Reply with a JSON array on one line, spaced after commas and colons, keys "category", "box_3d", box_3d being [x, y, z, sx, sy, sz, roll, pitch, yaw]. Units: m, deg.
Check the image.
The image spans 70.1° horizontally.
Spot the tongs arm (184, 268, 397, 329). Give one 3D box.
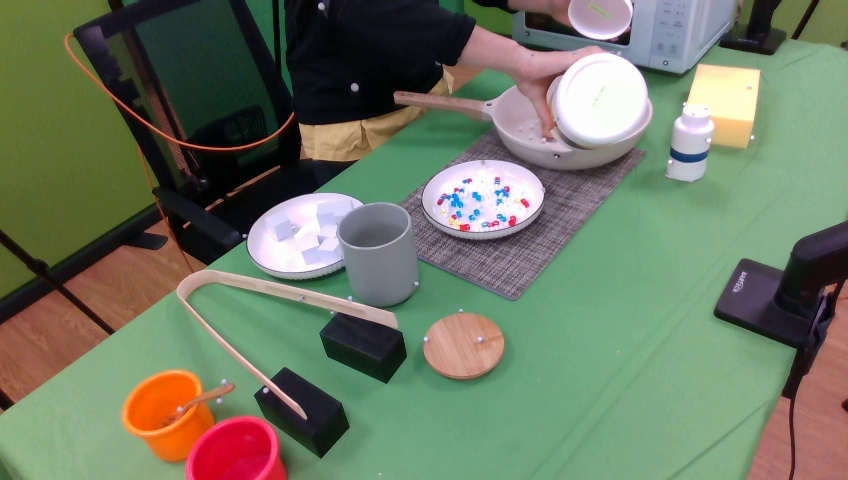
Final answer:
[{"category": "tongs arm", "box_3d": [-0.202, 0.084, 0.848, 0.382, 0.027, 0.051, 11, 45, 35]}]

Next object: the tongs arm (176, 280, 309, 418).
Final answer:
[{"category": "tongs arm", "box_3d": [-0.254, 0.133, 0.801, 0.028, 0.028, 0.384, -41, 40, -23]}]

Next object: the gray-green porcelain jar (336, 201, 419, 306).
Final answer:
[{"category": "gray-green porcelain jar", "box_3d": [-0.064, 0.024, 0.872, 0.106, 0.127, 0.105, -4, 41, 4]}]

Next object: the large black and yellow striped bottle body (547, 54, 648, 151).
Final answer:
[{"category": "large black and yellow striped bottle body", "box_3d": [0.265, -0.210, 0.958, 0.131, 0.130, 0.184, -3, 3, 5]}]

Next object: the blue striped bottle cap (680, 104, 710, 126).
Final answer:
[{"category": "blue striped bottle cap", "box_3d": [0.443, -0.205, 0.989, 0.044, 0.021, 0.044, -1, 41, 1]}]

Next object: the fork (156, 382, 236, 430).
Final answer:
[{"category": "fork", "box_3d": [-0.262, 0.189, 0.690, 0.018, 0.206, 0.028, 49, 43, -7]}]

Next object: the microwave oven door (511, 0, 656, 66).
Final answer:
[{"category": "microwave oven door", "box_3d": [0.351, -0.540, 1.349, 0.353, 0.245, 0.039, 24, 50, 31]}]

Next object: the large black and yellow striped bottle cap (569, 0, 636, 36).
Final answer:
[{"category": "large black and yellow striped bottle cap", "box_3d": [0.314, -0.416, 1.067, 0.115, 0.019, 0.114, -1, 80, 4]}]

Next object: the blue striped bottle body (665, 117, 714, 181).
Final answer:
[{"category": "blue striped bottle body", "box_3d": [0.449, -0.165, 1.022, 0.063, 0.121, 0.063, -5, 41, 4]}]

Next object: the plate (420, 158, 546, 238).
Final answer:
[{"category": "plate", "box_3d": [0.099, -0.067, 1.017, 0.209, 0.038, 0.208, -4, 40, 4]}]

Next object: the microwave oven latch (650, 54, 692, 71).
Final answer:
[{"category": "microwave oven latch", "box_3d": [0.530, -0.386, 1.301, 0.078, 0.029, 0.030, 23, 50, 31]}]

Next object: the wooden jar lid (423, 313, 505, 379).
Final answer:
[{"category": "wooden jar lid", "box_3d": [0.053, 0.142, 0.800, 0.108, 0.021, 0.108, -5, 39, 4]}]

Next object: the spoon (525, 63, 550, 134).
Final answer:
[{"category": "spoon", "box_3d": [0.232, -0.279, 1.207, 0.041, 0.022, 0.193, -14, 70, 6]}]

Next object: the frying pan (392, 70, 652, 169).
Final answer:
[{"category": "frying pan", "box_3d": [0.175, -0.248, 1.166, 0.487, 0.103, 0.306, 12, 43, 9]}]

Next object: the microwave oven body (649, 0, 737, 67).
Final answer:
[{"category": "microwave oven body", "box_3d": [0.475, -0.602, 1.411, 0.438, 0.261, 0.327, 23, 50, 32]}]

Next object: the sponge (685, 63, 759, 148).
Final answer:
[{"category": "sponge", "box_3d": [0.569, -0.263, 1.164, 0.117, 0.061, 0.207, 12, 45, 22]}]

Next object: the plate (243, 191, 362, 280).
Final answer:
[{"category": "plate", "box_3d": [-0.188, -0.005, 0.992, 0.207, 0.039, 0.206, -4, 41, 4]}]
